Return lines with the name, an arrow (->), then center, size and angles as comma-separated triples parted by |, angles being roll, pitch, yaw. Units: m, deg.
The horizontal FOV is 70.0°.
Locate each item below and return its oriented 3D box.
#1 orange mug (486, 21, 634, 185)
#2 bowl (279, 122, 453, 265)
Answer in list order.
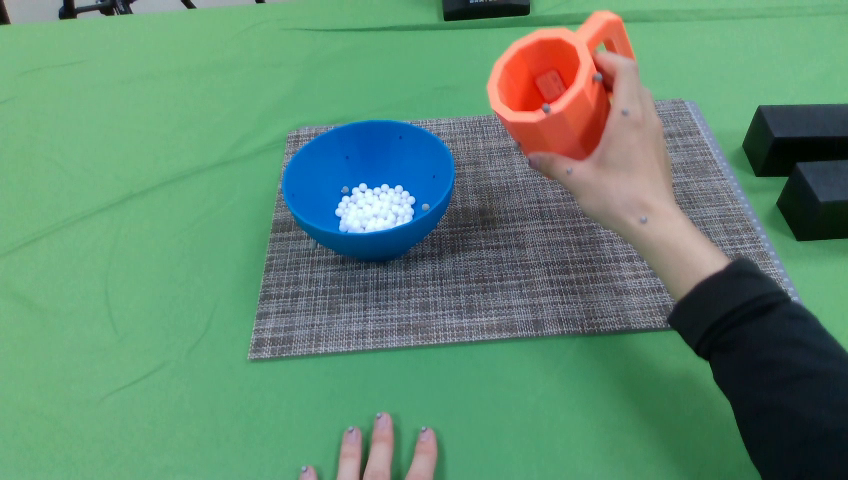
orange mug -> 0.123, -0.121, 0.516 | 0.126, 0.102, 0.082 | -48, 52, 7
bowl -> -0.047, -0.030, 0.549 | 0.151, 0.077, 0.150 | -3, 47, 3
